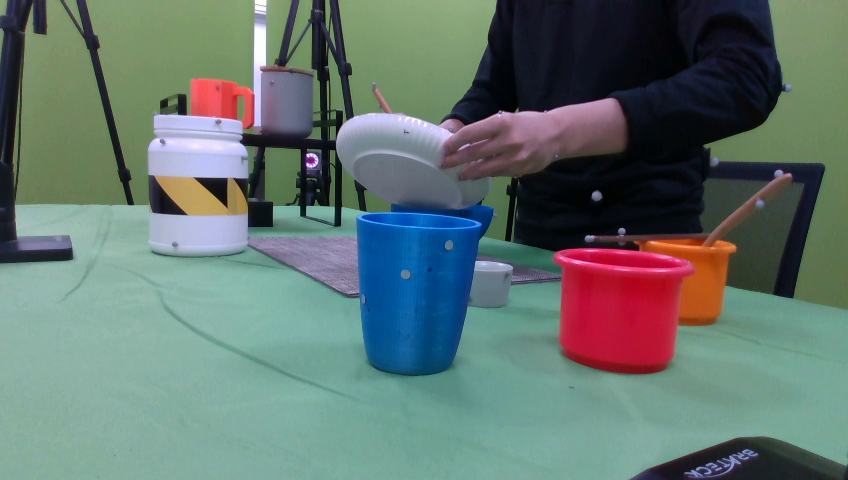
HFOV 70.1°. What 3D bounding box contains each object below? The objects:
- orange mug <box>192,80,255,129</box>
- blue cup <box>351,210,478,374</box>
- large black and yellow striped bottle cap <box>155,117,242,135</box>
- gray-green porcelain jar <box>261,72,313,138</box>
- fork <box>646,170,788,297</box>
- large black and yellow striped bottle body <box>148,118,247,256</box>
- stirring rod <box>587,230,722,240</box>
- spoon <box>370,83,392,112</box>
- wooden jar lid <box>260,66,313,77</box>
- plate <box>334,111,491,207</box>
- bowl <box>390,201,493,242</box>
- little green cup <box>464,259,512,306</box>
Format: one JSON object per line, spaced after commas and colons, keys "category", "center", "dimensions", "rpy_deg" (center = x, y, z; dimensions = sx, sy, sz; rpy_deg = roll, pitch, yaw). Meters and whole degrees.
{"category": "orange mug", "center": [-0.389, -0.257, 1.172], "dimensions": [0.126, 0.100, 0.083], "rpy_deg": [-1, 6, 9]}
{"category": "blue cup", "center": [-0.009, 0.034, 0.414], "dimensions": [0.093, 0.100, 0.092], "rpy_deg": [4, 8, 0]}
{"category": "large black and yellow striped bottle cap", "center": [-0.313, -0.159, 0.845], "dimensions": [0.115, 0.019, 0.115], "rpy_deg": [3, 9, 0]}
{"category": "gray-green porcelain jar", "center": [-0.284, -0.276, 1.253], "dimensions": [0.106, 0.126, 0.106], "rpy_deg": [2, 8, 0]}
{"category": "fork", "center": [0.256, 0.004, 0.543], "dimensions": [0.028, 0.018, 0.207], "rpy_deg": [3, -36, -10]}
{"category": "large black and yellow striped bottle body", "center": [-0.318, -0.076, 0.855], "dimensions": [0.131, 0.184, 0.130], "rpy_deg": [2, 7, 0]}
{"category": "stirring rod", "center": [0.227, -0.006, 0.585], "dimensions": [0.177, 0.006, 0.014], "rpy_deg": [-2, 7, -28]}
{"category": "spoon", "center": [-0.032, -0.144, 0.874], "dimensions": [0.021, 0.193, 0.041], "rpy_deg": [-24, -8, 4]}
{"category": "wooden jar lid", "center": [-0.283, -0.339, 1.244], "dimensions": [0.108, 0.020, 0.108], "rpy_deg": [5, 8, -1]}
{"category": "plate", "center": [-0.019, -0.089, 0.777], "dimensions": [0.209, 0.038, 0.209], "rpy_deg": [15, -20, 6]}
{"category": "bowl", "center": [0.023, -0.016, 0.873], "dimensions": [0.151, 0.077, 0.151], "rpy_deg": [3, 6, 0]}
{"category": "little green cup", "center": [0.057, 0.043, 0.611], "dimensions": [0.061, 0.038, 0.061], "rpy_deg": [3, 8, 0]}
